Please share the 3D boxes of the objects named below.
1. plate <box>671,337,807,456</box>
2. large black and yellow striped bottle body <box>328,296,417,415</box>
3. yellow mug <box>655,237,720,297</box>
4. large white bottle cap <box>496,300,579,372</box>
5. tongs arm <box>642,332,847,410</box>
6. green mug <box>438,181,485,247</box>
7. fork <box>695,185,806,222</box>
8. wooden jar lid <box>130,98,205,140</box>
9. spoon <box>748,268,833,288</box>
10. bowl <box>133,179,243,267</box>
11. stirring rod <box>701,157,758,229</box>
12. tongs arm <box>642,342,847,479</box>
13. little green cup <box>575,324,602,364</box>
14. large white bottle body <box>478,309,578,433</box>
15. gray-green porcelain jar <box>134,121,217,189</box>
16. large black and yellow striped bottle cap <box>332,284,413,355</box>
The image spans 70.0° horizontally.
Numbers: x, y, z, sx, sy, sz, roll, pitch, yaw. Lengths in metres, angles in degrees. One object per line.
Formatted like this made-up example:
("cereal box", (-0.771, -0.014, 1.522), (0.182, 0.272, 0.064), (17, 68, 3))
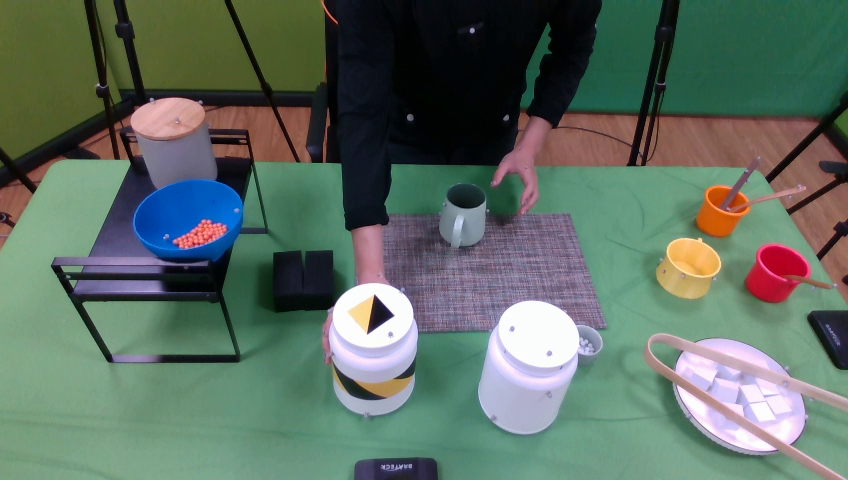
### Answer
("plate", (0.504, 0.254, 0.984), (0.208, 0.039, 0.206), (2, 46, -2))
("large black and yellow striped bottle body", (-0.077, 0.167, 0.920), (0.131, 0.185, 0.130), (2, 46, -2))
("yellow mug", (0.509, 0.041, 1.167), (0.099, 0.064, 0.130), (24, 48, 18))
("large white bottle cap", (0.160, 0.133, 0.852), (0.115, 0.018, 0.114), (3, 46, -2))
("tongs arm", (0.546, 0.227, 0.968), (0.384, 0.026, 0.050), (22, 52, 13))
("green mug", (0.071, -0.039, 1.177), (0.092, 0.105, 0.124), (12, 47, 7))
("fork", (0.658, -0.074, 1.230), (0.207, 0.019, 0.028), (-23, 35, 37))
("wooden jar lid", (-0.393, -0.183, 0.934), (0.108, 0.021, 0.107), (2, 44, -2))
("spoon", (0.660, 0.068, 1.097), (0.041, 0.193, 0.021), (-4, 91, -6))
("bowl", (-0.339, -0.013, 0.895), (0.151, 0.077, 0.150), (2, 46, -2))
("stirring rod", (0.634, -0.096, 1.257), (0.014, 0.006, 0.176), (38, 97, 29))
("tongs arm", (0.504, 0.279, 0.918), (0.386, 0.028, 0.028), (33, 59, 22))
("little green cup", (0.269, 0.179, 1.035), (0.061, 0.039, 0.061), (2, 45, -2))
("large white bottle body", (0.156, 0.192, 0.913), (0.131, 0.185, 0.130), (2, 46, -2))
("gray-green porcelain jar", (-0.397, -0.141, 0.979), (0.106, 0.127, 0.105), (2, 47, -2))
("large black and yellow striped bottle cap", (-0.073, 0.110, 0.858), (0.115, 0.019, 0.114), (2, 46, -2))
